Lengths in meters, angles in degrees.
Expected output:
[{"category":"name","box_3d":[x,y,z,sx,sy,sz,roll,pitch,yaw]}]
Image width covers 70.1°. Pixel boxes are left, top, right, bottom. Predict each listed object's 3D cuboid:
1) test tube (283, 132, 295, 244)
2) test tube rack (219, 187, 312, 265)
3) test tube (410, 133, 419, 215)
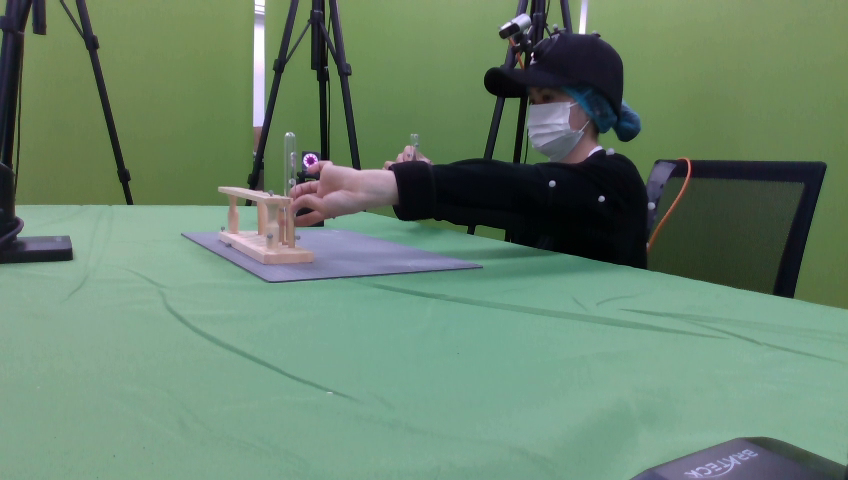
[{"category":"test tube","box_3d":[-0.182,-0.070,0.817,0.017,0.150,0.017,2,5,0]},{"category":"test tube rack","box_3d":[-0.235,-0.027,0.872,0.067,0.085,0.241,-2,8,-31]},{"category":"test tube","box_3d":[-0.018,-0.121,1.116,0.017,0.150,0.017,-1,10,0]}]
